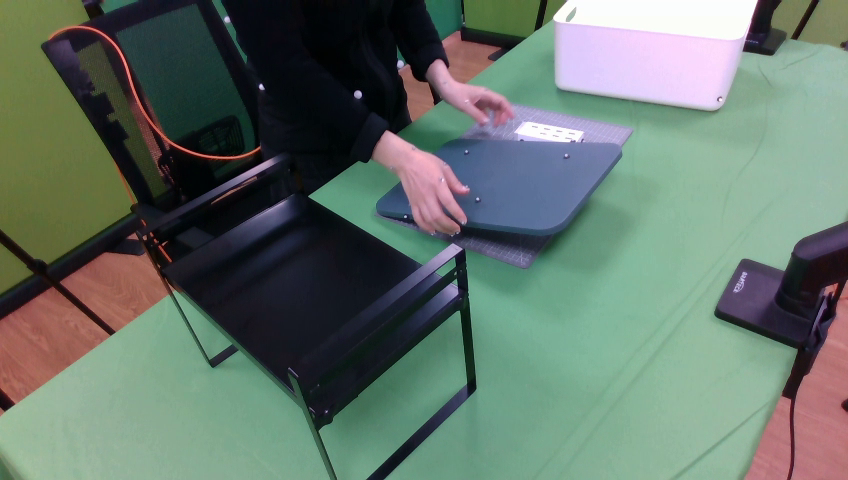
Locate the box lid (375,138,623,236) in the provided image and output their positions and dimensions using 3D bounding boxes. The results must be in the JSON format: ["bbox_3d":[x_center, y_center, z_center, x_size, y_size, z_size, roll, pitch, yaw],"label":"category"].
[{"bbox_3d":[0.117,-0.103,1.022,0.368,0.015,0.264,10,41,38],"label":"box lid"}]

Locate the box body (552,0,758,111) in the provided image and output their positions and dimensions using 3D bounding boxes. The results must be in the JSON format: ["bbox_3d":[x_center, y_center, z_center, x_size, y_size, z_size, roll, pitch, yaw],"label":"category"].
[{"bbox_3d":[0.480,-0.417,1.282,0.362,0.161,0.254,16,46,25],"label":"box body"}]

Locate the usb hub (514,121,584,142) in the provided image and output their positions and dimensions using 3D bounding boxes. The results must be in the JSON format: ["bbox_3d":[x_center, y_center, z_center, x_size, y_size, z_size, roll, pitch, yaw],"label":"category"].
[{"bbox_3d":[0.241,-0.200,1.165,0.124,0.025,0.049,17,46,26],"label":"usb hub"}]
